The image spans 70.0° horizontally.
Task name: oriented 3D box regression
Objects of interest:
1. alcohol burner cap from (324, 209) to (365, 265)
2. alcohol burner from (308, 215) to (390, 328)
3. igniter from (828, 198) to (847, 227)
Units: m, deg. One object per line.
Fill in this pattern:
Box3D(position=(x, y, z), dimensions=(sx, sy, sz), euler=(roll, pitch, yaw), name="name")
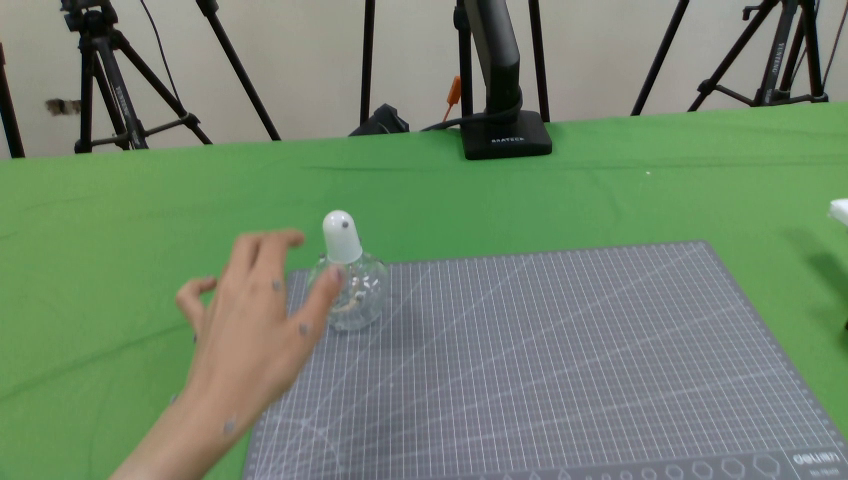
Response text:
Box3D(position=(-0.072, -0.006, 0.536), dimensions=(0.034, 0.048, 0.033), euler=(-4, 38, 3), name="alcohol burner cap")
Box3D(position=(-0.071, 0.023, 0.557), dimensions=(0.078, 0.120, 0.077), euler=(-1, 38, 1), name="alcohol burner")
Box3D(position=(0.433, 0.036, 0.494), dimensions=(0.057, 0.025, 0.274), euler=(-5, 32, -3), name="igniter")
